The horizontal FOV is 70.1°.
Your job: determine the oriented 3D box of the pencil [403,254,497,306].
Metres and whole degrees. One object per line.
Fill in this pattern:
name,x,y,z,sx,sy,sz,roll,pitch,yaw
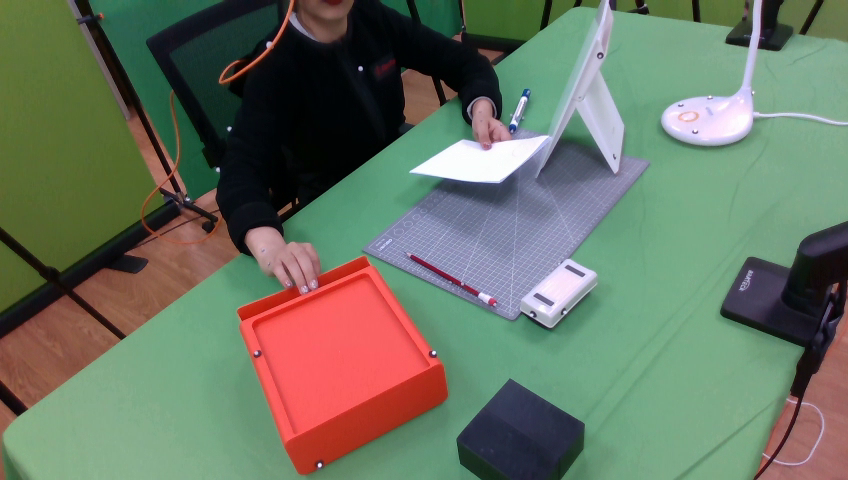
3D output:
pencil,0.034,0.057,0.914,0.192,0.012,0.012,27,52,38

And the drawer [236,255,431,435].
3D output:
drawer,-0.122,0.136,0.798,0.195,0.073,0.210,-22,42,-17

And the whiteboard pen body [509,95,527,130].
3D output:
whiteboard pen body,0.199,-0.273,1.261,0.017,0.017,0.140,8,45,19

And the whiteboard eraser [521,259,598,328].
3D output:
whiteboard eraser,0.189,0.076,0.843,0.055,0.042,0.113,29,53,37

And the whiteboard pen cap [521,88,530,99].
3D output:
whiteboard pen cap,0.218,-0.312,1.301,0.018,0.018,0.033,6,47,17

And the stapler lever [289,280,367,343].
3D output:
stapler lever,-0.134,0.097,0.842,0.118,0.040,0.026,-29,39,-17

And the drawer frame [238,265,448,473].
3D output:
drawer frame,-0.107,0.152,0.775,0.202,0.083,0.211,-23,43,-17

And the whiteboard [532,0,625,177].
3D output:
whiteboard,0.321,-0.258,1.050,0.144,0.306,0.217,21,45,5

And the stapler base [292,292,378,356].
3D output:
stapler base,-0.128,0.111,0.857,0.131,0.024,0.041,-33,40,-14

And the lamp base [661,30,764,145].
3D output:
lamp base,0.535,-0.287,1.096,0.179,0.181,0.159,-10,40,-4
